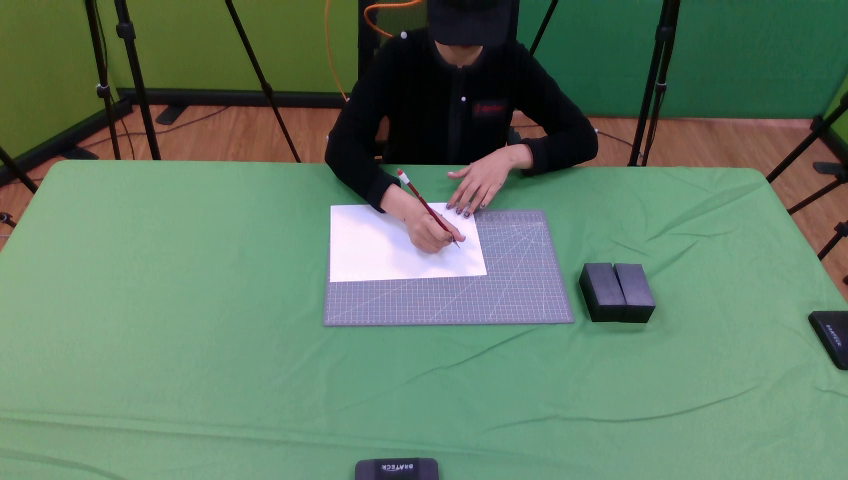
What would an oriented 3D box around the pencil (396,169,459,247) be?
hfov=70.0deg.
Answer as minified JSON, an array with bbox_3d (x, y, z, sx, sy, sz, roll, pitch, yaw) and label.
[{"bbox_3d":[0.010,-0.057,1.138,0.012,0.195,0.012,-34,20,14],"label":"pencil"}]
